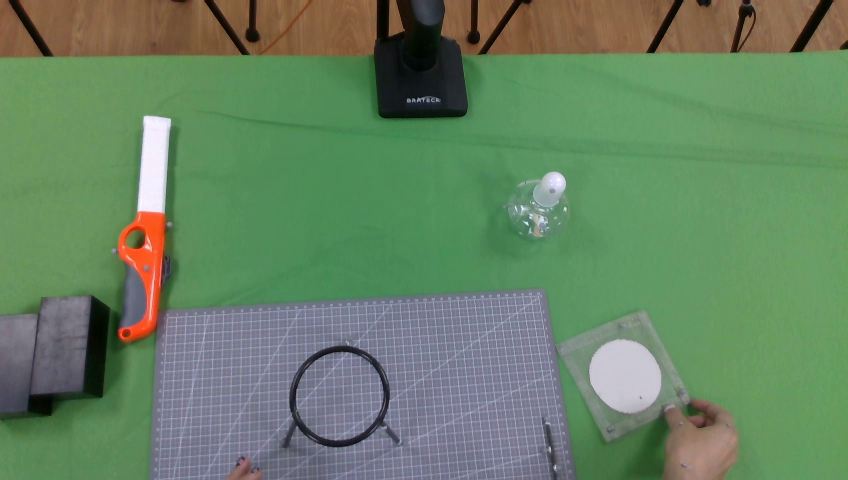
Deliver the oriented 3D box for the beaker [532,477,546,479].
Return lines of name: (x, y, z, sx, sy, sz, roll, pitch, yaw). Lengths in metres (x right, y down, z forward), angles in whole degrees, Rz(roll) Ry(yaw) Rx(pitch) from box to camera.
beaker: (0.090, 0.276, 0.603, 0.074, 0.101, 0.083, 27, 68, 4)

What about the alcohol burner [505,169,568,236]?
alcohol burner: (0.140, -0.051, 0.725, 0.078, 0.120, 0.077, 2, 67, -5)

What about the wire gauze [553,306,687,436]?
wire gauze: (0.233, 0.153, 0.718, 0.125, 0.011, 0.120, -20, 73, -11)

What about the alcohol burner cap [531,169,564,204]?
alcohol burner cap: (0.144, -0.063, 0.691, 0.034, 0.048, 0.033, 1, 74, -4)

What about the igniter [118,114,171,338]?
igniter: (-0.321, -0.022, 0.705, 0.057, 0.025, 0.274, 4, 69, -21)

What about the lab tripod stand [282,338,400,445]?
lab tripod stand: (-0.085, 0.157, 0.608, 0.148, 0.132, 0.147, 2, 68, -4)

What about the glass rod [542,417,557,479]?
glass rod: (0.145, 0.292, 0.651, 0.008, 0.008, 0.198, -3, 70, -8)
